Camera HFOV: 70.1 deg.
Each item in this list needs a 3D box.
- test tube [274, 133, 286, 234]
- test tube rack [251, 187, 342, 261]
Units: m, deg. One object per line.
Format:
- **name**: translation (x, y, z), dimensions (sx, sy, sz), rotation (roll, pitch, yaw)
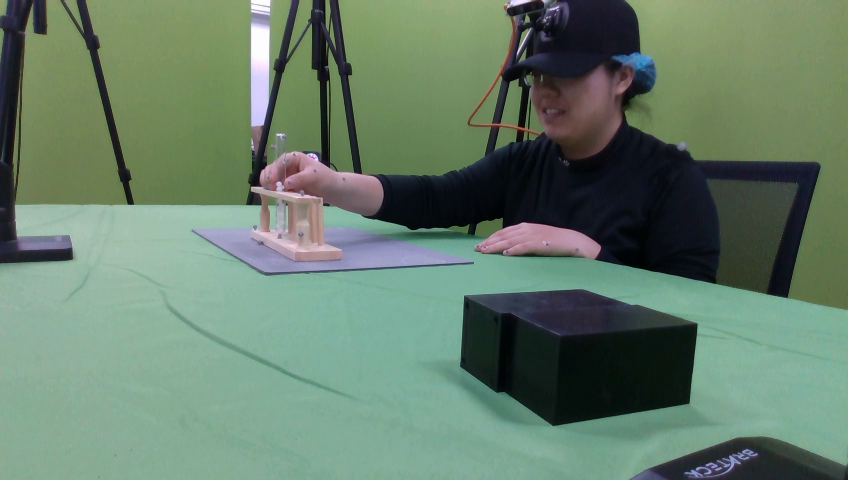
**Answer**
- **test tube**: translation (-0.214, -0.083, 0.899), dimensions (0.017, 0.150, 0.017), rotation (2, 7, 0)
- **test tube rack**: translation (-0.196, -0.030, 0.902), dimensions (0.067, 0.085, 0.241), rotation (-2, 8, -29)
